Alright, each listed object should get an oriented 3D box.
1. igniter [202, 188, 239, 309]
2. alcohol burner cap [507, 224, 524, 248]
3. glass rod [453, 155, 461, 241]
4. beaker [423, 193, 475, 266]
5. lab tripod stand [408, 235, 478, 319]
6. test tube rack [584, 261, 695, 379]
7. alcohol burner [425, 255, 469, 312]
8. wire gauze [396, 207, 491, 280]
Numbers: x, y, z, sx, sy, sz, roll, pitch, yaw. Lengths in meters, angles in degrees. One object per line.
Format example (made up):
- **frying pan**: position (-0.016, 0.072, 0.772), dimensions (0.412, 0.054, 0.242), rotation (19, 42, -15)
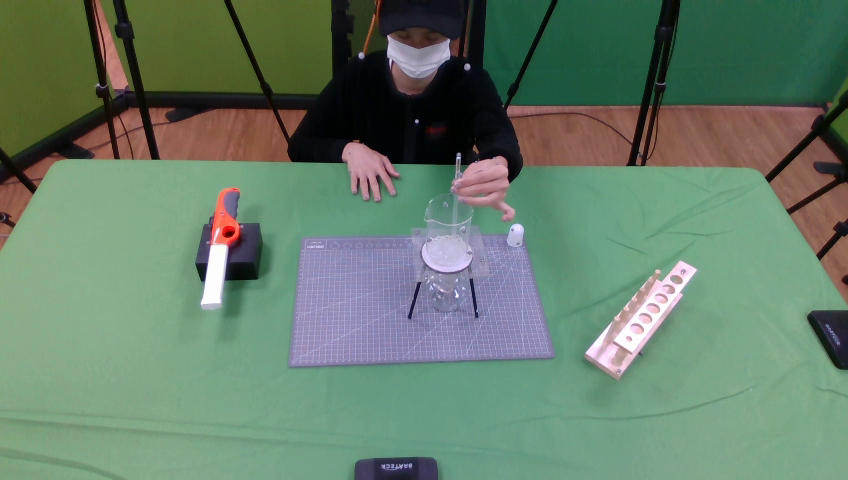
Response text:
- **igniter**: position (-0.367, 0.006, 1.095), dimensions (0.057, 0.025, 0.274), rotation (-2, 49, -7)
- **alcohol burner cap**: position (0.184, -0.010, 1.206), dimensions (0.034, 0.048, 0.033), rotation (0, 45, 0)
- **glass rod**: position (0.051, -0.059, 0.939), dimensions (0.008, 0.201, 0.008), rotation (0, 53, 1)
- **beaker**: position (0.036, -0.013, 0.974), dimensions (0.084, 0.101, 0.073), rotation (-18, 48, -20)
- **lab tripod stand**: position (0.032, 0.065, 1.057), dimensions (0.148, 0.132, 0.147), rotation (1, 45, -1)
- **test tube rack**: position (0.380, 0.127, 1.062), dimensions (0.066, 0.085, 0.242), rotation (34, 53, 26)
- **alcohol burner**: position (0.041, 0.072, 1.065), dimensions (0.078, 0.120, 0.077), rotation (1, 46, -1)
- **wire gauze**: position (0.032, 0.006, 1.001), dimensions (0.125, 0.011, 0.120), rotation (-20, 52, -16)
